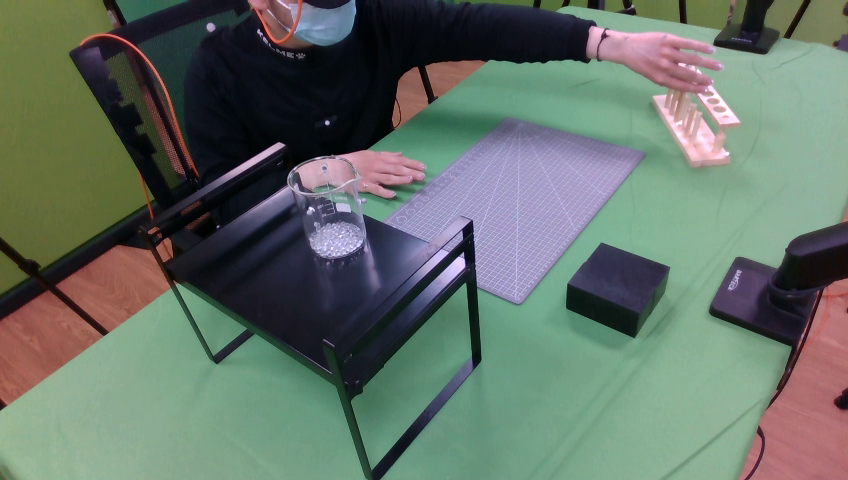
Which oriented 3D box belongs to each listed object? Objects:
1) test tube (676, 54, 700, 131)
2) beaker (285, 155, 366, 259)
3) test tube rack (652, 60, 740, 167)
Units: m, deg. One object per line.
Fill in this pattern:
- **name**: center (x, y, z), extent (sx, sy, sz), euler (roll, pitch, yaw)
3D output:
- **test tube**: center (0.475, -0.263, 1.089), extent (0.017, 0.151, 0.017), euler (-4, 43, 5)
- **beaker**: center (-0.105, -0.035, 0.691), extent (0.084, 0.101, 0.073), euler (-4, 41, 3)
- **test tube rack**: center (0.499, -0.242, 1.130), extent (0.067, 0.085, 0.241), euler (-5, 41, 4)
